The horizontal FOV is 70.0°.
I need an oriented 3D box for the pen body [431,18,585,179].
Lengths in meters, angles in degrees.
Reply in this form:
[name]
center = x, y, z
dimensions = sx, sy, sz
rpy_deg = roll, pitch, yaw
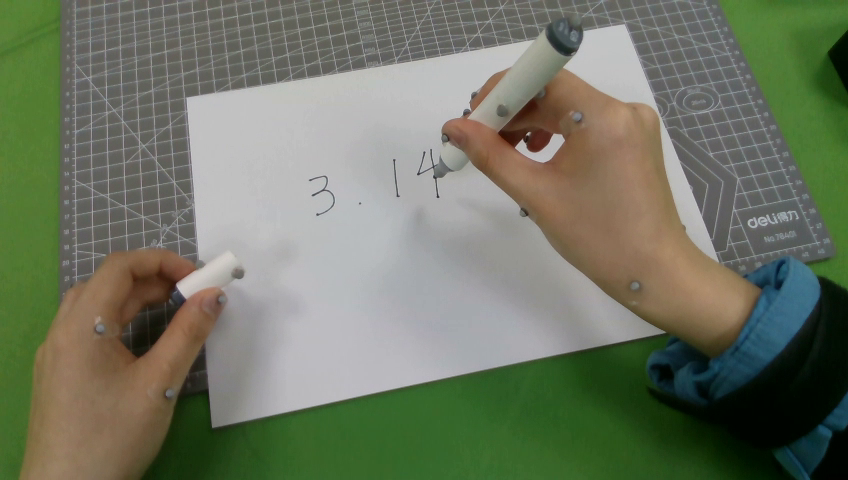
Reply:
[pen body]
center = 0.030, -0.057, 0.289
dimensions = 0.017, 0.144, 0.017
rpy_deg = 6, 72, -20

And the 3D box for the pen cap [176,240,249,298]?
[pen cap]
center = -0.112, 0.016, 0.319
dimensions = 0.038, 0.017, 0.017
rpy_deg = -31, 71, 10
